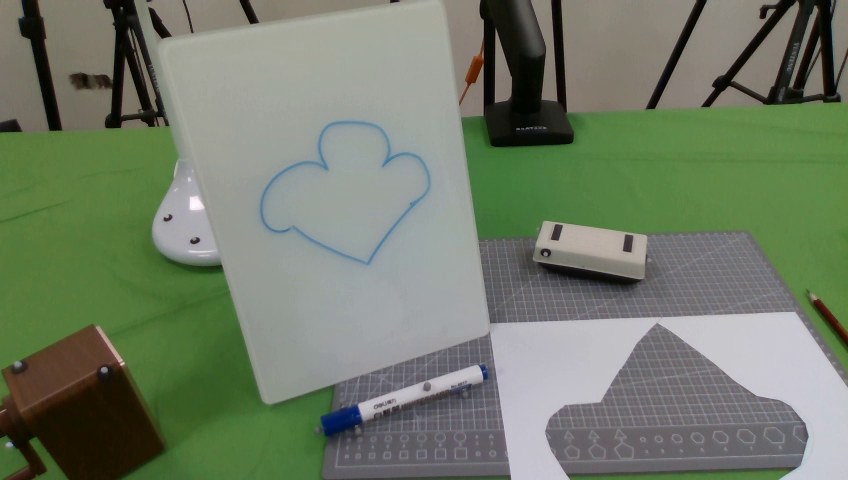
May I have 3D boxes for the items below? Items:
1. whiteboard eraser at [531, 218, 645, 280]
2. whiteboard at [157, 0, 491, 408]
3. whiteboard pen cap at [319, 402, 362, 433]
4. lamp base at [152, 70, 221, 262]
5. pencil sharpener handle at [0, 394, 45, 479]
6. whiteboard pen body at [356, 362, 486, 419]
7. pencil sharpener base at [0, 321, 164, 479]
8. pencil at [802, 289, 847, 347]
[{"bbox_3d":[0.174,0.010,0.640,0.112,0.042,0.055,10,40,15],"label":"whiteboard eraser"},{"bbox_3d":[-0.081,-0.043,0.558,0.218,0.307,0.142,-15,20,-14],"label":"whiteboard"},{"bbox_3d":[-0.068,0.145,0.495,0.033,0.018,0.018,-16,40,-15],"label":"whiteboard pen cap"},{"bbox_3d":[-0.253,-0.092,0.684,0.177,0.182,0.160,25,46,34],"label":"lamp base"},{"bbox_3d":[-0.293,0.143,0.423,0.030,0.068,0.035,-31,33,-31],"label":"pencil sharpener handle"},{"bbox_3d":[-0.013,0.129,0.510,0.141,0.017,0.017,-15,39,-14],"label":"whiteboard pen body"},{"bbox_3d":[-0.257,0.129,0.459,0.077,0.108,0.061,-31,46,-31],"label":"pencil sharpener base"},{"bbox_3d":[0.391,0.106,0.538,0.012,0.012,0.192,-4,36,-1],"label":"pencil"}]
